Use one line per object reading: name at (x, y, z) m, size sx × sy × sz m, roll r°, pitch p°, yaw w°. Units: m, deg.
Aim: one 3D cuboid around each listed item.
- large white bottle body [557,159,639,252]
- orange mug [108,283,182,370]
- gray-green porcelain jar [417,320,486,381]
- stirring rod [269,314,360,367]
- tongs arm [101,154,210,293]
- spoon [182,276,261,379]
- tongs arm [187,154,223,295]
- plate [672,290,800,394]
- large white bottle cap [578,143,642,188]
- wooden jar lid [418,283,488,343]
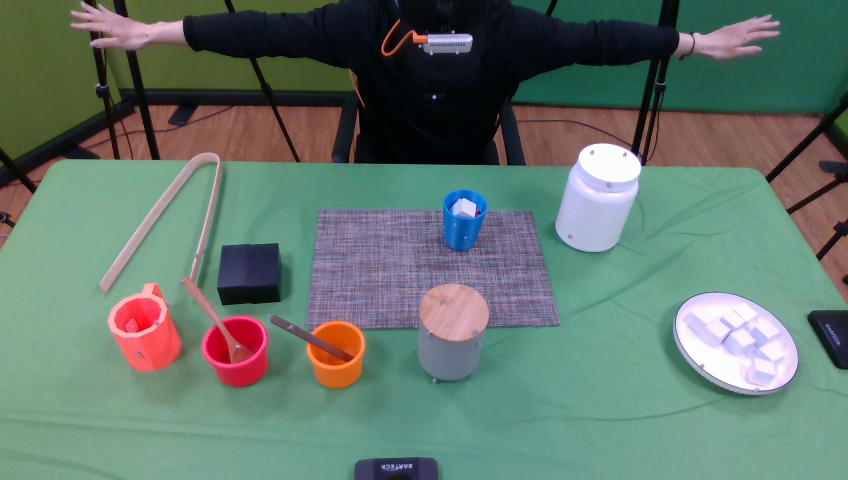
large white bottle body at (0.340, -0.082, 1.185) m, size 0.131 × 0.185 × 0.130 m, roll 2°, pitch 46°, yaw -1°
orange mug at (-0.445, 0.133, 0.983) m, size 0.083 × 0.101 × 0.125 m, roll -1°, pitch 50°, yaw -5°
gray-green porcelain jar at (0.042, 0.158, 0.975) m, size 0.106 × 0.127 × 0.105 m, roll 2°, pitch 46°, yaw -2°
stirring rod at (-0.168, 0.159, 0.950) m, size 0.177 × 0.006 × 0.014 m, roll 35°, pitch 41°, yaw -30°
tongs arm at (-0.525, -0.047, 1.202) m, size 0.028 × 0.028 × 0.385 m, roll 4°, pitch 45°, yaw 12°
spoon at (-0.321, 0.137, 0.957) m, size 0.041 × 0.021 × 0.194 m, roll -36°, pitch 102°, yaw -33°
tongs arm at (-0.442, -0.045, 1.199) m, size 0.051 × 0.027 × 0.382 m, roll -3°, pitch 46°, yaw 0°
plate at (0.533, 0.178, 1.050) m, size 0.208 × 0.039 × 0.206 m, roll 2°, pitch 46°, yaw -2°
large white bottle cap at (0.344, -0.139, 1.123) m, size 0.115 × 0.018 × 0.114 m, roll 2°, pitch 46°, yaw -2°
wooden jar lid at (0.044, 0.114, 0.931) m, size 0.108 × 0.021 × 0.107 m, roll 2°, pitch 49°, yaw -2°
